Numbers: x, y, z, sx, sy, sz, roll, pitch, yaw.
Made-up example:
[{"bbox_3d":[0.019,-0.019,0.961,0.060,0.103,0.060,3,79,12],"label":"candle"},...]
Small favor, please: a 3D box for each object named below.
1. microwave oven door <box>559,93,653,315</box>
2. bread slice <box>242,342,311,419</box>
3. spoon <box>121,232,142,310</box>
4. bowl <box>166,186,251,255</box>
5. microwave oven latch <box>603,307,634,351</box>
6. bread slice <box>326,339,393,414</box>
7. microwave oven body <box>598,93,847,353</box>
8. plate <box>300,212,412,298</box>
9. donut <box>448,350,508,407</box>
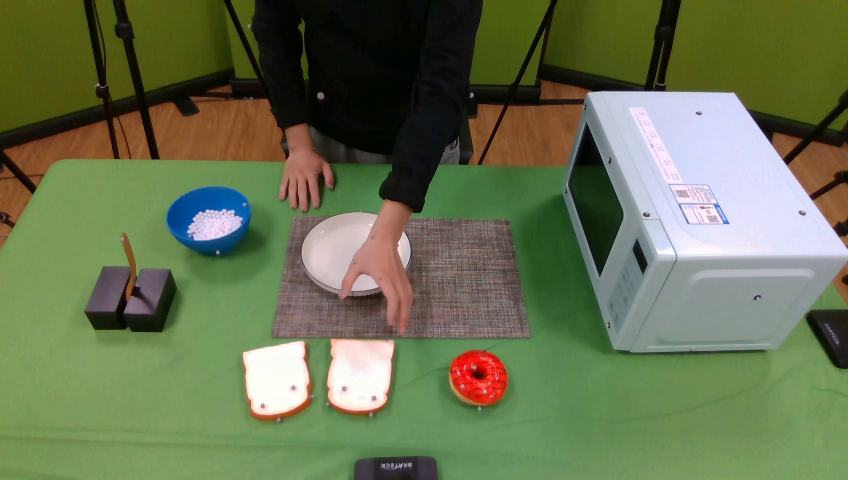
[{"bbox_3d":[0.327,-0.074,1.123,0.039,0.245,0.353,-1,46,-5],"label":"microwave oven door"},{"bbox_3d":[-0.234,0.223,0.970,0.105,0.019,0.130,-10,46,-13],"label":"bread slice"},{"bbox_3d":[-0.479,0.051,0.994,0.022,0.194,0.041,13,46,-11],"label":"spoon"},{"bbox_3d":[-0.403,-0.024,1.154,0.151,0.077,0.150,2,46,-2],"label":"bowl"},{"bbox_3d":[0.332,0.153,1.044,0.030,0.029,0.078,0,45,-3],"label":"microwave oven latch"},{"bbox_3d":[-0.104,0.219,0.983,0.107,0.018,0.133,0,45,-4],"label":"bread slice"},{"bbox_3d":[0.475,-0.041,1.109,0.326,0.261,0.438,-1,45,-4],"label":"microwave oven body"},{"bbox_3d":[-0.127,0.032,1.145,0.208,0.039,0.206,3,46,-2],"label":"plate"},{"bbox_3d":[0.087,0.223,0.977,0.099,0.048,0.098,4,46,-4],"label":"donut"}]
